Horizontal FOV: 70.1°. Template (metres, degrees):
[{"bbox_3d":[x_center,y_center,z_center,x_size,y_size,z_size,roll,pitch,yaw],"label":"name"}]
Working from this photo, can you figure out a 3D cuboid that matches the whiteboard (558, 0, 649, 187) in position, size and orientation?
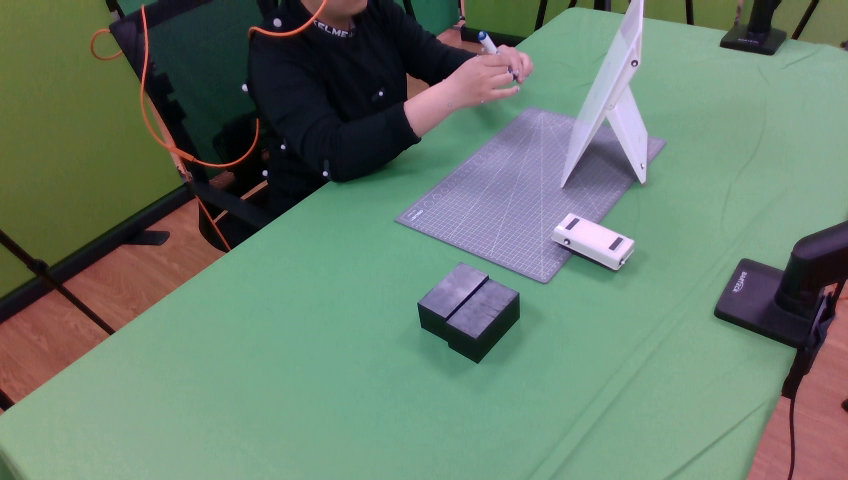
[{"bbox_3d":[0.361,-0.238,1.026,0.144,0.306,0.217,21,44,3],"label":"whiteboard"}]

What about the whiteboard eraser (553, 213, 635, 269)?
[{"bbox_3d":[0.258,0.003,0.918,0.112,0.042,0.056,27,50,30],"label":"whiteboard eraser"}]

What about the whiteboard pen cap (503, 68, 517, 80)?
[{"bbox_3d":[0.163,-0.316,1.154,0.018,0.018,0.033,-20,8,-14],"label":"whiteboard pen cap"}]

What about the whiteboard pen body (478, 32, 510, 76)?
[{"bbox_3d":[0.129,-0.327,1.078,0.017,0.142,0.017,-8,72,26],"label":"whiteboard pen body"}]
